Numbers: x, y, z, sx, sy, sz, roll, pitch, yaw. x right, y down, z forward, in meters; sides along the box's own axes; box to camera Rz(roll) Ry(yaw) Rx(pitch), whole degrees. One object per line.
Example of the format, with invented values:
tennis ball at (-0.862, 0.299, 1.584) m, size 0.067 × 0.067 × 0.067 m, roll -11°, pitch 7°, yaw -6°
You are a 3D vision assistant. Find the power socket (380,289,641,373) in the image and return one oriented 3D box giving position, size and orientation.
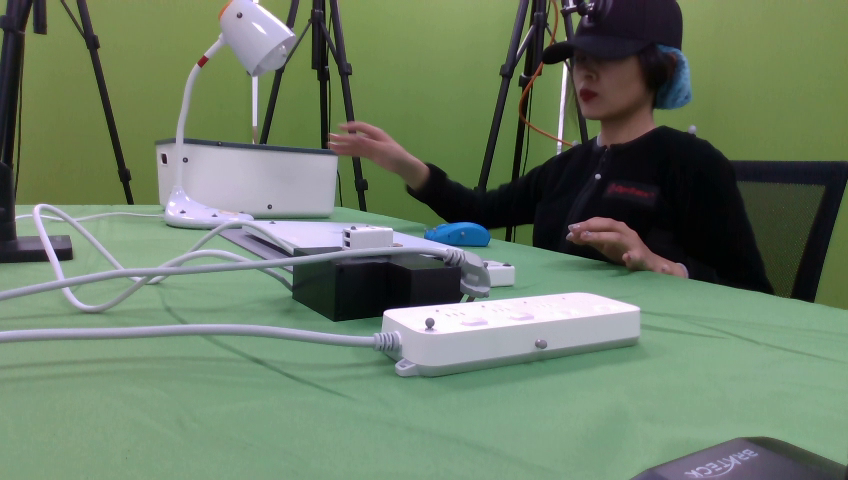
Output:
power socket at (0.072, 0.064, 0.461) m, size 0.228 × 0.032 × 0.072 m, roll -2°, pitch 8°, yaw -30°

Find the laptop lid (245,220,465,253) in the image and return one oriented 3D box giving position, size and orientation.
laptop lid at (-0.124, -0.009, 0.945) m, size 0.243 × 0.013 × 0.355 m, roll 1°, pitch 7°, yaw -29°

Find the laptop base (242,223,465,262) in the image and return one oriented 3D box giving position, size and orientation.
laptop base at (-0.126, 0.003, 0.945) m, size 0.237 × 0.023 × 0.352 m, roll 2°, pitch 6°, yaw -31°

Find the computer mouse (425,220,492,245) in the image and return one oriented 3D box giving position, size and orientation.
computer mouse at (0.060, -0.013, 1.060) m, size 0.117 × 0.041 × 0.062 m, roll -2°, pitch 10°, yaw -6°

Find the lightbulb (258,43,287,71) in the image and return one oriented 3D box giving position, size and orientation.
lightbulb at (-0.295, -0.357, 1.101) m, size 0.059 × 0.107 × 0.059 m, roll -38°, pitch 2°, yaw 2°

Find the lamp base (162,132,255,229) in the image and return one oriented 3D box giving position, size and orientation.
lamp base at (-0.419, -0.116, 1.156) m, size 0.179 × 0.180 × 0.160 m, roll 0°, pitch 7°, yaw 0°

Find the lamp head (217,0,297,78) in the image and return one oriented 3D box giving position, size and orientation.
lamp head at (-0.315, -0.372, 1.102) m, size 0.123 × 0.112 × 0.112 m, roll 41°, pitch 3°, yaw -9°

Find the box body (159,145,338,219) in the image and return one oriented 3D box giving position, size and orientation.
box body at (-0.410, -0.139, 1.414) m, size 0.366 × 0.160 × 0.253 m, roll -3°, pitch 8°, yaw -33°

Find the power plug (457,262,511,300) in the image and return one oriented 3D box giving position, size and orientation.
power plug at (0.052, 0.051, 0.543) m, size 0.035 × 0.052 × 0.072 m, roll 6°, pitch 37°, yaw -19°

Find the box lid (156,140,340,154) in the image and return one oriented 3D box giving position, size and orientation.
box lid at (-0.409, -0.213, 1.404) m, size 0.373 × 0.015 × 0.262 m, roll -2°, pitch 8°, yaw -32°

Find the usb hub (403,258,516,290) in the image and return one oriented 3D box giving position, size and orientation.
usb hub at (0.042, 0.038, 0.690) m, size 0.126 × 0.025 × 0.049 m, roll -2°, pitch 9°, yaw -30°

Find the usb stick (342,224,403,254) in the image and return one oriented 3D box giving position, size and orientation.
usb stick at (-0.047, -0.001, 0.567) m, size 0.059 × 0.027 × 0.021 m, roll 0°, pitch 5°, yaw -32°
